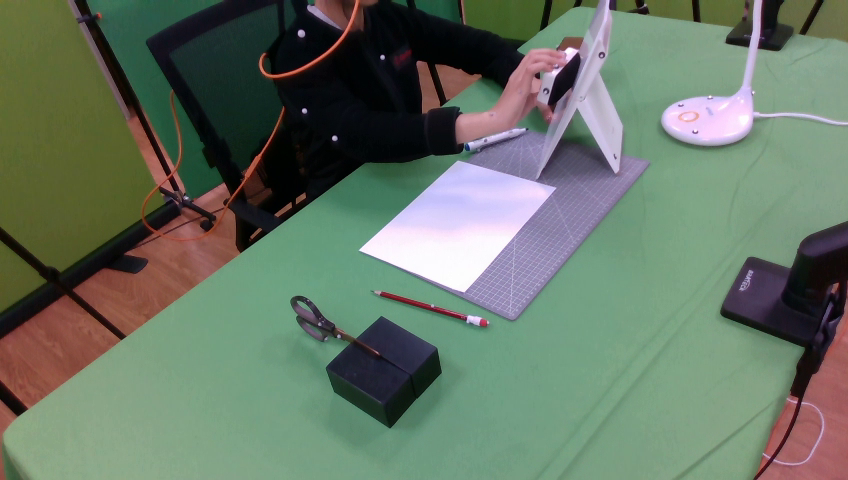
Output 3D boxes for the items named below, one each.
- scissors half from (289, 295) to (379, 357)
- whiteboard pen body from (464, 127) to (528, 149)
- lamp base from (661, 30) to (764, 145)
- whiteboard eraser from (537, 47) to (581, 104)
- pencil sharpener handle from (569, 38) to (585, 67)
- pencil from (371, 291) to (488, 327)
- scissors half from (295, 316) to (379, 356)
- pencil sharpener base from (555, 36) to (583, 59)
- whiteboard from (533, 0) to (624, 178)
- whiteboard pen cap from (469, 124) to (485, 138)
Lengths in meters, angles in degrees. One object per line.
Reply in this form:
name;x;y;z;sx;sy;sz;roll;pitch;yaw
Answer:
scissors half;-0.122;0.114;0.803;0.174;0.040;0.013;26;50;32
whiteboard pen body;0.144;-0.204;1.192;0.141;0.017;0.017;-18;41;-15
lamp base;0.535;-0.287;1.096;0.179;0.181;0.159;-10;40;-4
whiteboard eraser;0.228;-0.273;1.003;0.041;0.056;0.113;23;47;17
pencil sharpener handle;0.333;-0.413;1.318;0.036;0.068;0.030;19;47;13
pencil;0.003;0.097;0.877;0.193;0.012;0.012;13;45;26
scissors half;-0.118;0.131;0.813;0.173;0.040;0.013;9;34;45
pencil sharpener base;0.318;-0.371;1.290;0.061;0.107;0.076;10;44;22
whiteboard;0.321;-0.259;1.050;0.144;0.306;0.217;20;44;4
whiteboard pen cap;0.107;-0.220;1.224;0.033;0.018;0.018;-37;48;-23
